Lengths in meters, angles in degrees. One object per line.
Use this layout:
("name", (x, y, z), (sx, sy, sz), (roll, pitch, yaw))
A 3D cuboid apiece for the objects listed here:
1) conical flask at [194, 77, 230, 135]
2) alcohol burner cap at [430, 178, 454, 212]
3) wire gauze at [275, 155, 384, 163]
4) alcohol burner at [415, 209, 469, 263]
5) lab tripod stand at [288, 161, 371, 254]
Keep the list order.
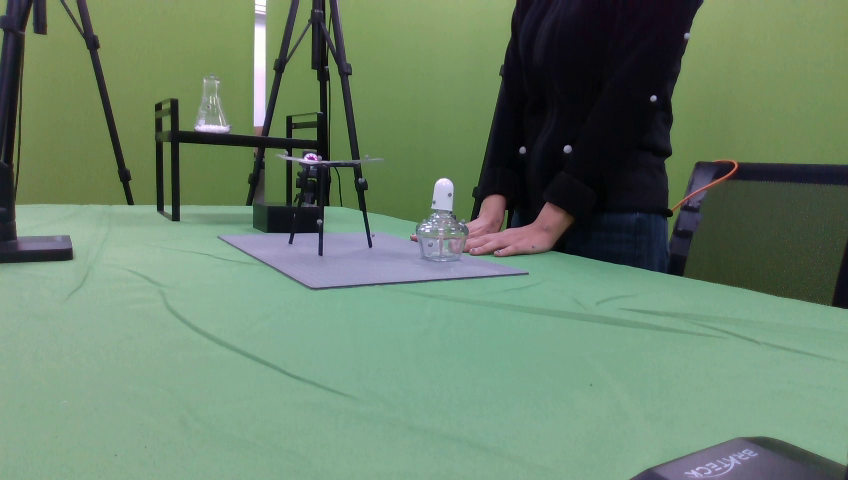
("conical flask", (-0.461, -0.292, 1.317), (0.075, 0.122, 0.075), (2, 7, 0))
("alcohol burner cap", (0.027, -0.064, 0.858), (0.034, 0.048, 0.034), (4, 4, 0))
("wire gauze", (-0.142, -0.118, 0.900), (0.122, 0.011, 0.124), (-3, 8, -37))
("alcohol burner", (0.025, -0.028, 0.863), (0.078, 0.119, 0.078), (1, 6, 0))
("lab tripod stand", (-0.148, -0.052, 0.909), (0.148, 0.131, 0.148), (1, 8, 0))
